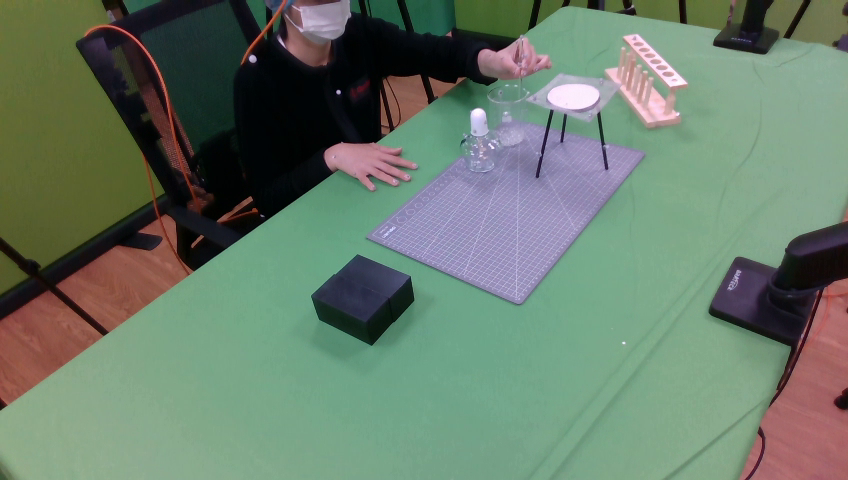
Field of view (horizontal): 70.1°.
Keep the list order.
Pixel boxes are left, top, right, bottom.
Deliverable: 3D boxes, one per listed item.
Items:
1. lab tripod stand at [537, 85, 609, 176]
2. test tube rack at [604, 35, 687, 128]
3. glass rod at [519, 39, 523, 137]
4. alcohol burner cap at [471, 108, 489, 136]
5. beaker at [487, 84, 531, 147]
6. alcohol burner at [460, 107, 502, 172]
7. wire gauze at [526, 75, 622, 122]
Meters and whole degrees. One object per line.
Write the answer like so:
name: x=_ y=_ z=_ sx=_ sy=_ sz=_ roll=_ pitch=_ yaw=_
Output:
lab tripod stand: x=0.259 y=-0.192 z=1.068 sx=0.148 sy=0.132 sz=0.147 roll=-4 pitch=43 yaw=4
test tube rack: x=0.447 y=-0.330 z=1.241 sx=0.067 sy=0.085 sz=0.241 roll=-9 pitch=41 yaw=-2
glass rod: x=0.179 y=-0.274 z=1.115 sx=0.008 sy=0.200 sz=0.008 roll=-4 pitch=43 yaw=4
alcohol burner cap: x=0.098 y=-0.211 z=1.074 sx=0.034 sy=0.048 sz=0.033 roll=-6 pitch=42 yaw=6
beaker: x=0.163 y=-0.237 z=1.161 sx=0.084 sy=0.101 sz=0.073 roll=-9 pitch=41 yaw=-3
alcohol burner: x=0.102 y=-0.185 z=1.098 sx=0.078 sy=0.119 sz=0.077 roll=-6 pitch=40 yaw=5
wire gauze: x=0.255 y=-0.248 z=1.030 sx=0.124 sy=0.011 sz=0.122 roll=24 pitch=51 yaw=33
